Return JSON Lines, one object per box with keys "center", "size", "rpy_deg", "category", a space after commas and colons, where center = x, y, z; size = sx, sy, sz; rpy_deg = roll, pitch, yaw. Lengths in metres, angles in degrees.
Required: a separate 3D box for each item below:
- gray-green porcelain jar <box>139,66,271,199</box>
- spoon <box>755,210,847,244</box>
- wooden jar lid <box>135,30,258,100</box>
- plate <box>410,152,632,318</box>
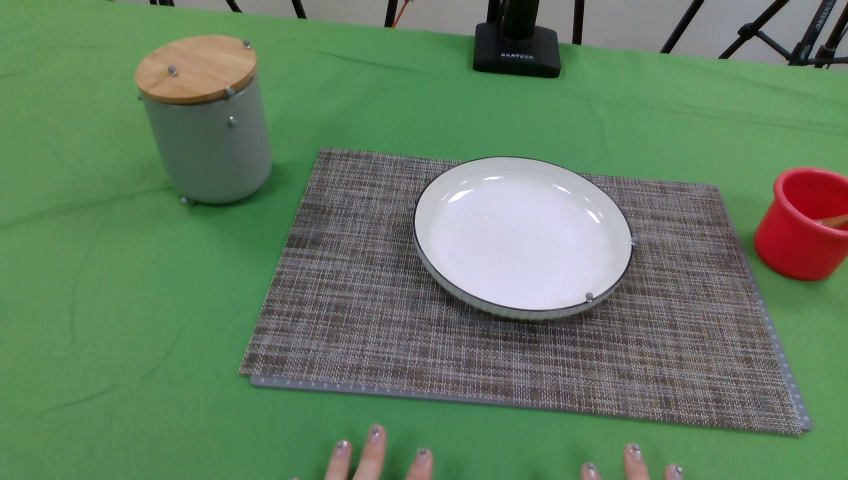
{"center": [-0.210, -0.113, 0.600], "size": [0.106, 0.127, 0.105], "rpy_deg": [3, 47, -2], "category": "gray-green porcelain jar"}
{"center": [0.411, -0.025, 0.557], "size": [0.193, 0.022, 0.041], "rpy_deg": [-18, 27, 45], "category": "spoon"}
{"center": [-0.205, -0.157, 0.553], "size": [0.108, 0.021, 0.107], "rpy_deg": [1, 48, 0], "category": "wooden jar lid"}
{"center": [0.089, -0.005, 0.580], "size": [0.208, 0.039, 0.205], "rpy_deg": [3, 47, -2], "category": "plate"}
